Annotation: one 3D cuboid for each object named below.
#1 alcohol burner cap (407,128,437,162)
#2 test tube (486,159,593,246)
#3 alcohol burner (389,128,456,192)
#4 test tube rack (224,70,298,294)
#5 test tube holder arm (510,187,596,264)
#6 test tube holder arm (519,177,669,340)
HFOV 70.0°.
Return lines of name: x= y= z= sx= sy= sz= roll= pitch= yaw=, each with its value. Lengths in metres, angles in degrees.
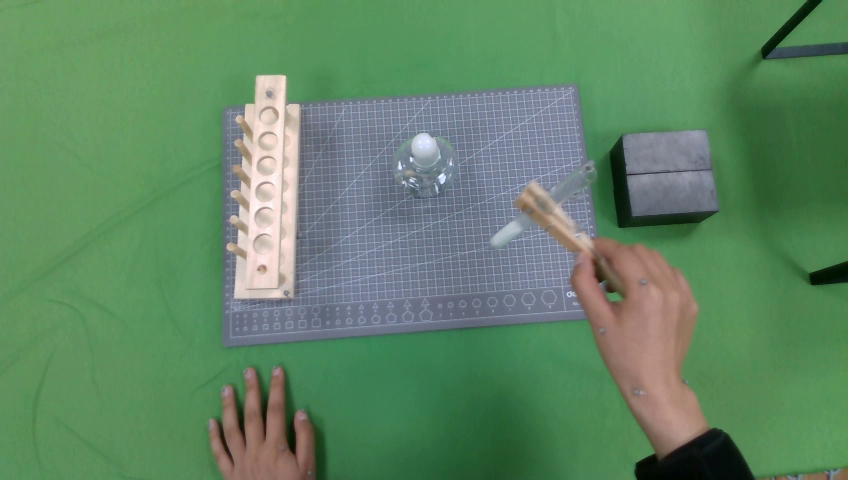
alcohol burner cap: x=-0.003 y=-0.105 z=0.655 sx=0.034 sy=0.048 sz=0.034 roll=0 pitch=83 yaw=1
test tube: x=0.092 y=-0.027 z=0.514 sx=0.017 sy=0.150 sz=0.017 roll=9 pitch=65 yaw=-21
alcohol burner: x=-0.002 y=-0.097 z=0.690 sx=0.078 sy=0.119 sz=0.077 roll=0 pitch=79 yaw=1
test tube rack: x=-0.190 y=-0.064 z=0.695 sx=0.067 sy=0.085 sz=0.241 roll=0 pitch=78 yaw=-1
test tube holder arm: x=0.109 y=-0.012 z=0.507 sx=0.088 sy=0.015 sz=0.010 roll=39 pitch=58 yaw=-6
test tube holder arm: x=0.145 y=0.016 z=0.513 sx=0.178 sy=0.015 sz=0.013 roll=46 pitch=58 yaw=-2
